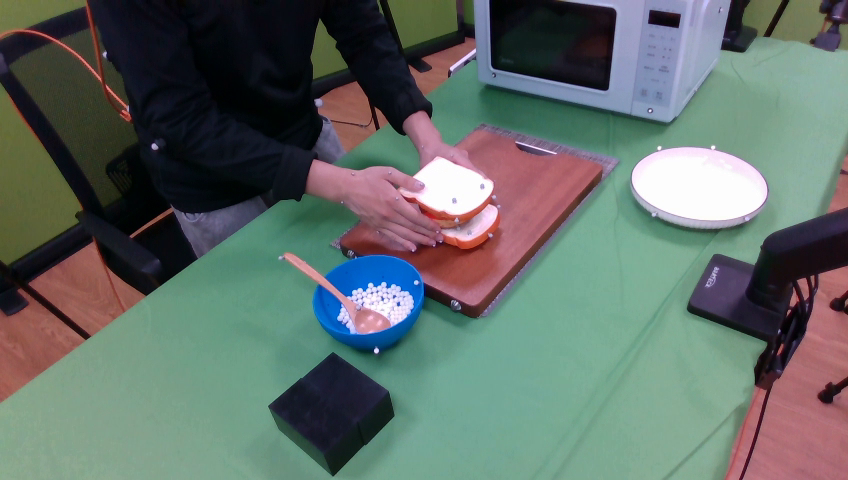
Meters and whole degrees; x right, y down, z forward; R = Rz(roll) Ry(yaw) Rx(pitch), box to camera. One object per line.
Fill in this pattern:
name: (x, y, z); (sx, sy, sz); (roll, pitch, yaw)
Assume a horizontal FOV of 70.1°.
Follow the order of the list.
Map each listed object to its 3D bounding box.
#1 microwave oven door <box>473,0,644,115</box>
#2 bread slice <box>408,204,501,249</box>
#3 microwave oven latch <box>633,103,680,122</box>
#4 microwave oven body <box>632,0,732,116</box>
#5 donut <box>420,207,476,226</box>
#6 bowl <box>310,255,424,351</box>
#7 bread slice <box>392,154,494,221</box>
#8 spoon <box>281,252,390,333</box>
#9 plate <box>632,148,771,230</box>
microwave oven door: (0.257, -0.396, 1.199); (0.353, 0.245, 0.039); (21, 48, 29)
bread slice: (0.054, -0.037, 0.946); (0.130, 0.019, 0.105); (26, 58, 35)
microwave oven latch: (0.444, -0.249, 1.157); (0.078, 0.029, 0.030); (21, 49, 30)
microwave oven body: (0.377, -0.462, 1.267); (0.438, 0.261, 0.327); (21, 49, 30)
donut: (0.042, -0.059, 0.930); (0.099, 0.048, 0.098); (-2, 40, 2)
bowl: (-0.072, 0.098, 0.821); (0.151, 0.077, 0.150); (-4, 40, 4)
bread slice: (0.037, -0.077, 0.907); (0.133, 0.018, 0.107); (25, 56, 31)
spoon: (-0.122, 0.070, 0.811); (0.193, 0.022, 0.042); (38, 64, 16)
plate: (0.447, -0.081, 0.988); (0.207, 0.039, 0.206); (-4, 40, 4)
